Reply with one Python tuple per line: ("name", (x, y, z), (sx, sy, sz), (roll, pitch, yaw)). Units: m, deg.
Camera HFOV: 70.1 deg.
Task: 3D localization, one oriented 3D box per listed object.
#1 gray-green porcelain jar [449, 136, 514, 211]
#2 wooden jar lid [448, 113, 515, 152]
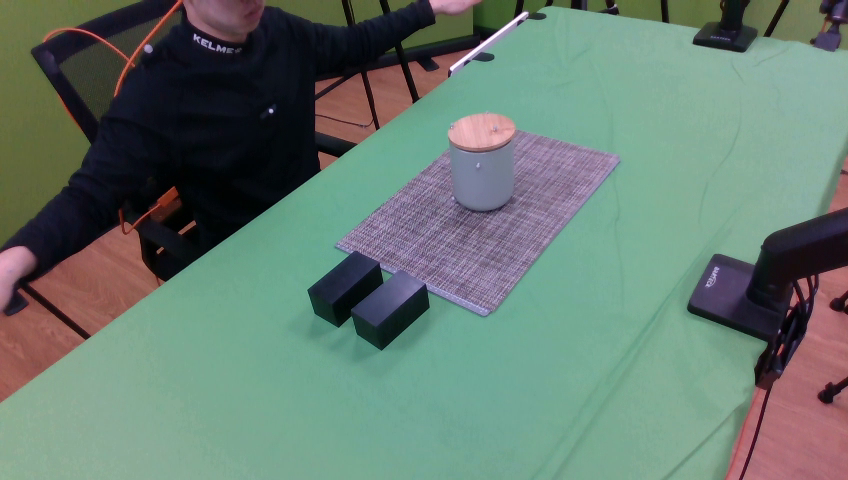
("gray-green porcelain jar", (0.098, -0.120, 1.009), (0.106, 0.127, 0.105), (-4, 41, 4))
("wooden jar lid", (0.092, -0.168, 0.967), (0.108, 0.021, 0.108), (-6, 39, 5))
